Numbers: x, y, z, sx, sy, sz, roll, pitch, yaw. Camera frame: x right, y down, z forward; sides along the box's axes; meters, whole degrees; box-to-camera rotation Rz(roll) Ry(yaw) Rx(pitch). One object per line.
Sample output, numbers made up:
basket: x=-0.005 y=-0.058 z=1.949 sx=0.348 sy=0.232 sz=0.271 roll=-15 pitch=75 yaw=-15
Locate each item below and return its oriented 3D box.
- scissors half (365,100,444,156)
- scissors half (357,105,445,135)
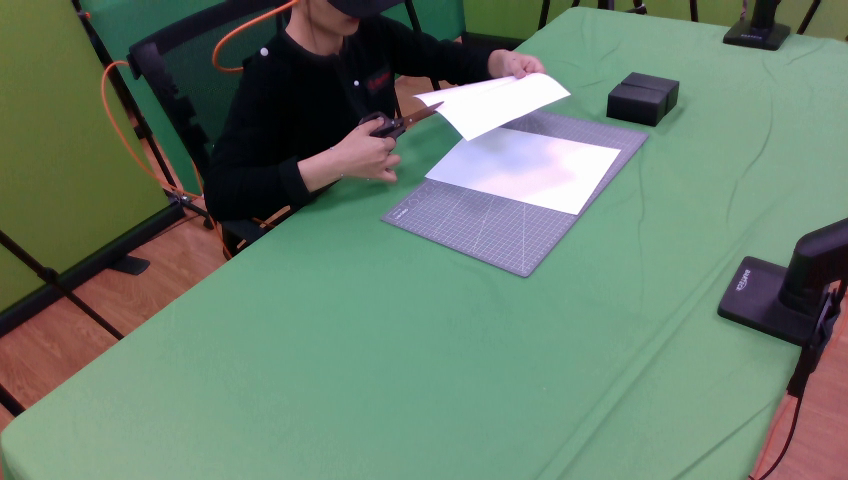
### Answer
scissors half: x=-0.033 y=-0.211 z=1.127 sx=0.175 sy=0.040 sz=0.012 roll=-37 pitch=29 yaw=-4
scissors half: x=-0.041 y=-0.229 z=1.116 sx=0.176 sy=0.040 sz=0.012 roll=-15 pitch=30 yaw=-16
